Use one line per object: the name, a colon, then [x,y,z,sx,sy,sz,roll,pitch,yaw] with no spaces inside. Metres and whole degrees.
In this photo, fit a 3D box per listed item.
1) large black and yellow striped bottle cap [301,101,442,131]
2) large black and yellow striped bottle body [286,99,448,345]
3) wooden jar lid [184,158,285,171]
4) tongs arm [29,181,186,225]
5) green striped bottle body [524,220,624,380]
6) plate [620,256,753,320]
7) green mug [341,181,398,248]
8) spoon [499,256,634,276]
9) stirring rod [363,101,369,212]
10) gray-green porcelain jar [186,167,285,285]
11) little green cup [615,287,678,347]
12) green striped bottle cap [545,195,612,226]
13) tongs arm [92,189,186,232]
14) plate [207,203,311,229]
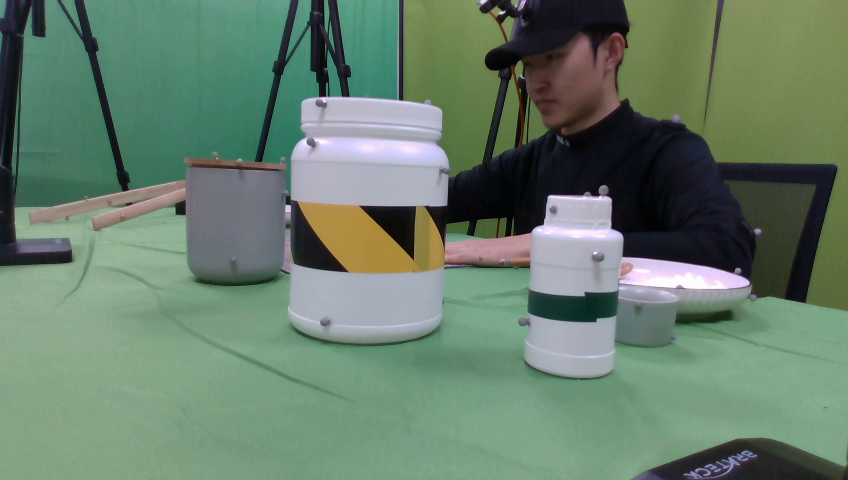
large black and yellow striped bottle cap: [-0.042,-0.100,0.491,0.115,0.019,0.115,1,8,0]
large black and yellow striped bottle body: [-0.047,-0.018,0.501,0.131,0.184,0.130,2,7,0]
wooden jar lid: [-0.210,-0.078,0.674,0.108,0.020,0.108,5,6,0]
tongs arm: [-0.609,-0.083,1.245,0.050,0.026,0.386,5,16,23]
green striped bottle body: [0.104,0.031,0.422,0.063,0.119,0.063,2,8,0]
plate: [0.234,0.049,0.651,0.209,0.038,0.209,2,7,0]
green mug: [-0.090,-0.043,0.997,0.093,0.105,0.125,1,6,-8]
spoon: [0.162,0.027,0.679,0.195,0.021,0.041,8,2,-30]
stirring rod: [-0.094,-0.133,0.971,0.006,0.176,0.014,-5,14,-30]
gray-green porcelain jar: [-0.212,-0.017,0.682,0.106,0.126,0.106,2,7,0]
little green cup: [0.180,0.064,0.506,0.061,0.038,0.061,1,8,0]
green striped bottle cap: [0.106,-0.020,0.414,0.044,0.020,0.044,2,4,0]
tongs arm: [-0.534,-0.076,1.221,0.028,0.028,0.388,-2,15,12]
plate: [-0.342,-0.050,1.259,0.208,0.039,0.207,3,7,0]
